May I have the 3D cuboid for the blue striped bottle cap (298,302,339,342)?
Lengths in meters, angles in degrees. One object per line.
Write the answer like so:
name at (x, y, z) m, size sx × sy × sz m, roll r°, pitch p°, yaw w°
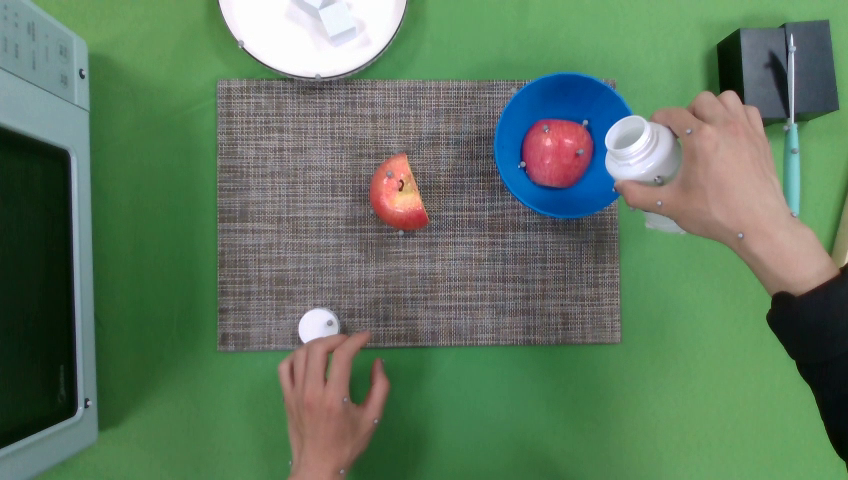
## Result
blue striped bottle cap at (-0.117, 0.090, 0.667) m, size 0.044 × 0.020 × 0.044 m, roll 0°, pitch 89°, yaw -4°

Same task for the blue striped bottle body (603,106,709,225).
blue striped bottle body at (0.210, -0.070, 0.558) m, size 0.122 × 0.062 × 0.063 m, roll 38°, pitch 87°, yaw -36°

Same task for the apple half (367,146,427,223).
apple half at (-0.033, -0.054, 0.644) m, size 0.053 × 0.074 × 0.081 m, roll -20°, pitch 93°, yaw 1°

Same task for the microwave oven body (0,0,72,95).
microwave oven body at (-0.514, -0.005, 0.530) m, size 0.326 × 0.260 × 0.441 m, roll -3°, pitch 90°, yaw -3°

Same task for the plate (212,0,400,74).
plate at (-0.127, -0.282, 0.665) m, size 0.208 × 0.039 × 0.207 m, roll 0°, pitch 89°, yaw -3°

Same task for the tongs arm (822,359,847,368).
tongs arm at (0.572, -0.019, 0.690) m, size 0.051 × 0.026 × 0.384 m, roll 29°, pitch 89°, yaw -1°

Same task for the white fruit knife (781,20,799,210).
white fruit knife at (0.396, -0.130, 0.659) m, size 0.016 × 0.027 × 0.208 m, roll -6°, pitch 106°, yaw 15°

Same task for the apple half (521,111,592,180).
apple half at (0.144, -0.103, 0.644) m, size 0.081 × 0.033 × 0.081 m, roll 0°, pitch 88°, yaw -1°

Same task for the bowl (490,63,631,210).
bowl at (0.142, -0.103, 0.649) m, size 0.151 × 0.077 × 0.151 m, roll 0°, pitch 89°, yaw -1°

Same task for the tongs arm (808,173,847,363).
tongs arm at (0.497, -0.052, 0.692) m, size 0.028 × 0.028 × 0.387 m, roll 15°, pitch 89°, yaw -4°

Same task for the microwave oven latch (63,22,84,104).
microwave oven latch at (-0.377, -0.185, 0.635) m, size 0.030 × 0.029 × 0.079 m, roll -3°, pitch 90°, yaw -3°

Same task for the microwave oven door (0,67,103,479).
microwave oven door at (-0.365, 0.030, 0.531) m, size 0.039 × 0.244 × 0.355 m, roll -3°, pitch 89°, yaw -2°
